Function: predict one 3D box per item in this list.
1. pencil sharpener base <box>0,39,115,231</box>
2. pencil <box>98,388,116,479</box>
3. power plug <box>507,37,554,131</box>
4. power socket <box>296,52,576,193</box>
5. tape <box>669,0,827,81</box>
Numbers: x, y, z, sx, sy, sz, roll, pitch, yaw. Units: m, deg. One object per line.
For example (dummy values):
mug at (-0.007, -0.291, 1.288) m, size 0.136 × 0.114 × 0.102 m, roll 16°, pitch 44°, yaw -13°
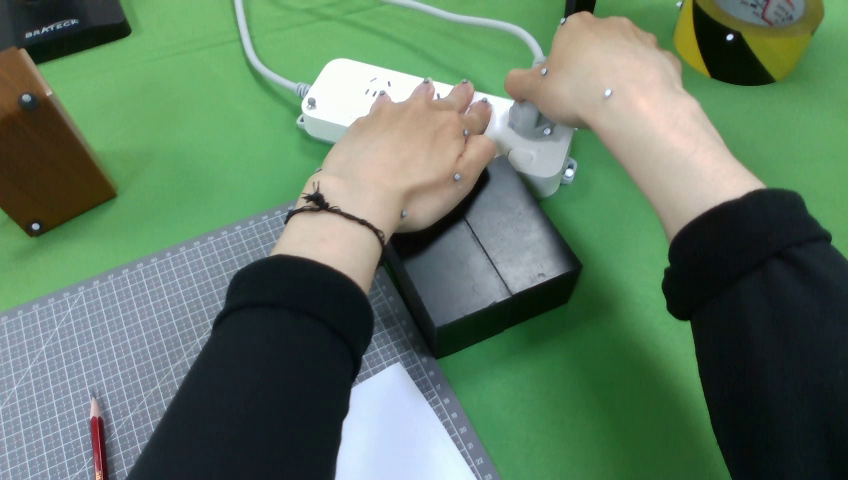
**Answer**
pencil sharpener base at (-0.277, -0.067, 0.413) m, size 0.076 × 0.108 × 0.061 m, roll -34°, pitch 64°, yaw -19°
pencil at (-0.167, 0.166, 0.324) m, size 0.012 × 0.012 × 0.192 m, roll -17°, pitch 57°, yaw -10°
power plug at (0.088, -0.111, 0.459) m, size 0.035 × 0.053 × 0.072 m, roll 21°, pitch 61°, yaw 22°
power socket at (0.009, -0.095, 0.477) m, size 0.226 × 0.033 × 0.072 m, roll 16°, pitch 59°, yaw 11°
tape at (0.282, -0.199, 0.532) m, size 0.117 × 0.053 × 0.116 m, roll 0°, pitch 59°, yaw 0°
